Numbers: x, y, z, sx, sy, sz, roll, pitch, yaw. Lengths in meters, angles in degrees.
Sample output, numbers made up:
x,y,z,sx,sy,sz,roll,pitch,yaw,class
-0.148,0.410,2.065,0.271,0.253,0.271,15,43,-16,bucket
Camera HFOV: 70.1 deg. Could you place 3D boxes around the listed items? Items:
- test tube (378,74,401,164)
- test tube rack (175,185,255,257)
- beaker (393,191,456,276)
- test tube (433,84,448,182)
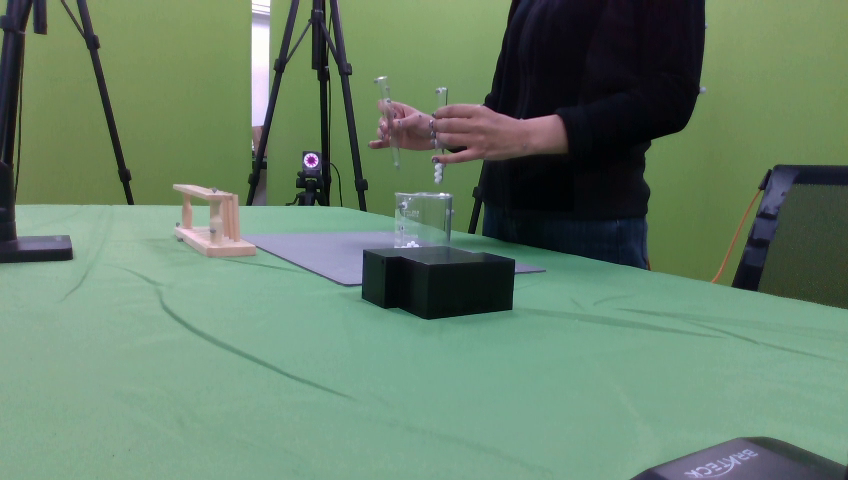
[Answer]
x,y,z,sx,sy,sz,roll,pitch,yaw,class
-0.056,-0.201,1.013,0.017,0.150,0.017,-7,21,3,test tube
-0.324,-0.035,0.922,0.067,0.085,0.241,-2,9,-31,test tube rack
-0.003,-0.010,0.749,0.074,0.100,0.083,-3,8,-40,beaker
0.025,-0.165,0.942,0.017,0.150,0.017,3,10,0,test tube
